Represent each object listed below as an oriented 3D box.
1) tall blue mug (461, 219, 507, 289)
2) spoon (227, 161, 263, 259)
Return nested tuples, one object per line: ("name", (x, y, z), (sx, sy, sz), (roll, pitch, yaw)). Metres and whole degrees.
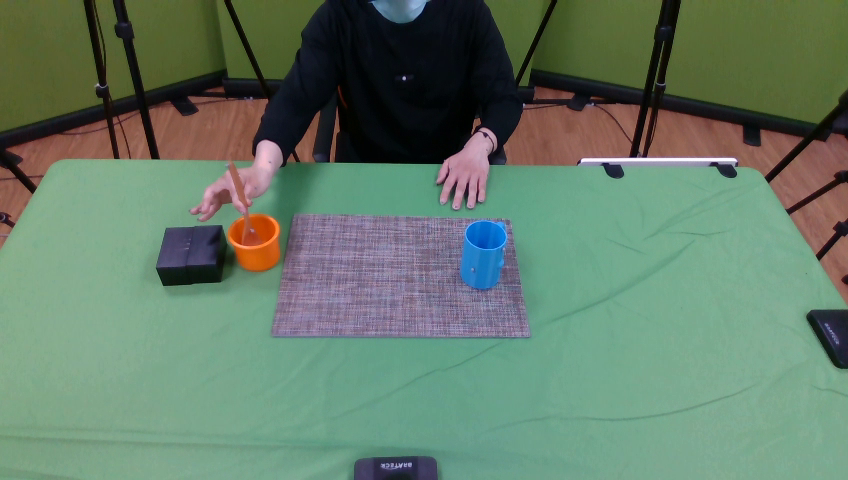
("tall blue mug", (0.111, 0.016, 1.122), (0.078, 0.108, 0.106), (6, 46, 4))
("spoon", (-0.320, -0.051, 1.081), (0.021, 0.194, 0.041), (22, 40, 33))
